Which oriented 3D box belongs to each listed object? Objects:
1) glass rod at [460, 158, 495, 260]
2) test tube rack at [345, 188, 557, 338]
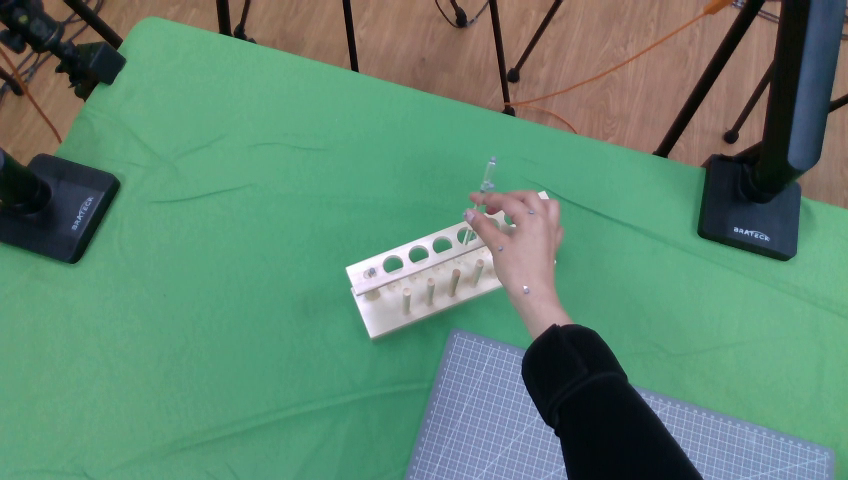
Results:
[{"bbox_3d":[0.055,-0.026,0.646,0.008,0.201,0.008,3,61,-4],"label":"glass rod"},{"bbox_3d":[0.038,0.027,0.695,0.242,0.086,0.066,-21,70,-10],"label":"test tube rack"}]
